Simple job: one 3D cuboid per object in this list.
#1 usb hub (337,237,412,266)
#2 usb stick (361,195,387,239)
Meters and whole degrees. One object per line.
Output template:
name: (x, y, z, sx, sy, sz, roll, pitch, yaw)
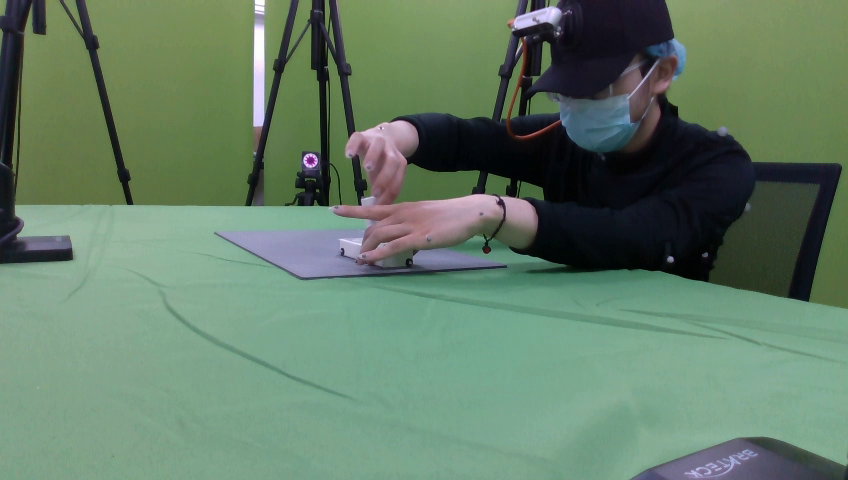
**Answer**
usb hub: (-0.071, 0.015, 0.833, 0.050, 0.025, 0.124, -3, 8, -36)
usb stick: (-0.068, -0.031, 0.833, 0.027, 0.059, 0.021, -12, 8, -25)
